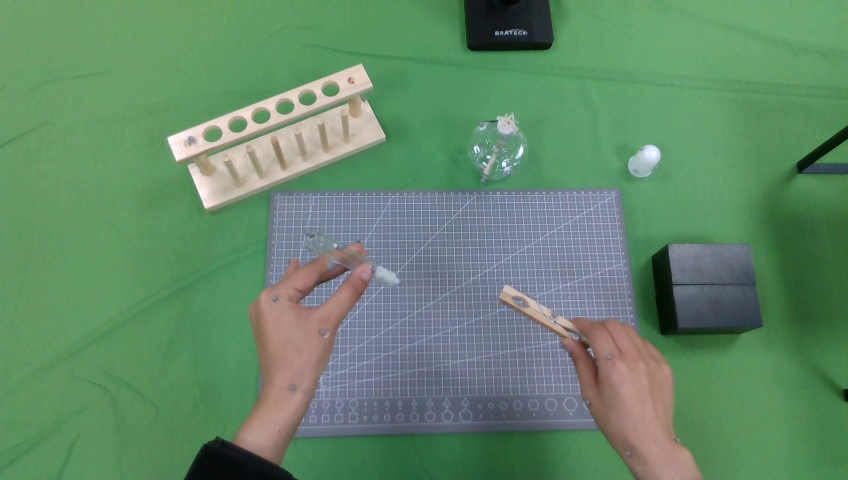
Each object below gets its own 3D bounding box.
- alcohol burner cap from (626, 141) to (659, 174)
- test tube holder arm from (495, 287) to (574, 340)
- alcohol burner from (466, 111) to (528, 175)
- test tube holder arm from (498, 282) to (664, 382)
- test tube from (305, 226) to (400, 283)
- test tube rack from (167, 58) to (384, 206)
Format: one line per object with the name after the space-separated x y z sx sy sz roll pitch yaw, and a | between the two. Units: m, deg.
0.285 -0.109 0.783 0.034 0.048 0.033 0 72 -1 | alcohol burner cap
0.110 0.073 0.602 0.087 0.015 0.010 30 77 10 | test tube holder arm
0.092 -0.127 0.742 0.078 0.119 0.077 1 74 -3 | alcohol burner
0.152 0.090 0.596 0.178 0.015 0.013 28 76 9 | test tube holder arm
-0.056 0.016 0.517 0.017 0.151 0.017 -6 73 20 | test tube
-0.173 -0.131 0.744 0.242 0.085 0.066 -24 74 -10 | test tube rack
